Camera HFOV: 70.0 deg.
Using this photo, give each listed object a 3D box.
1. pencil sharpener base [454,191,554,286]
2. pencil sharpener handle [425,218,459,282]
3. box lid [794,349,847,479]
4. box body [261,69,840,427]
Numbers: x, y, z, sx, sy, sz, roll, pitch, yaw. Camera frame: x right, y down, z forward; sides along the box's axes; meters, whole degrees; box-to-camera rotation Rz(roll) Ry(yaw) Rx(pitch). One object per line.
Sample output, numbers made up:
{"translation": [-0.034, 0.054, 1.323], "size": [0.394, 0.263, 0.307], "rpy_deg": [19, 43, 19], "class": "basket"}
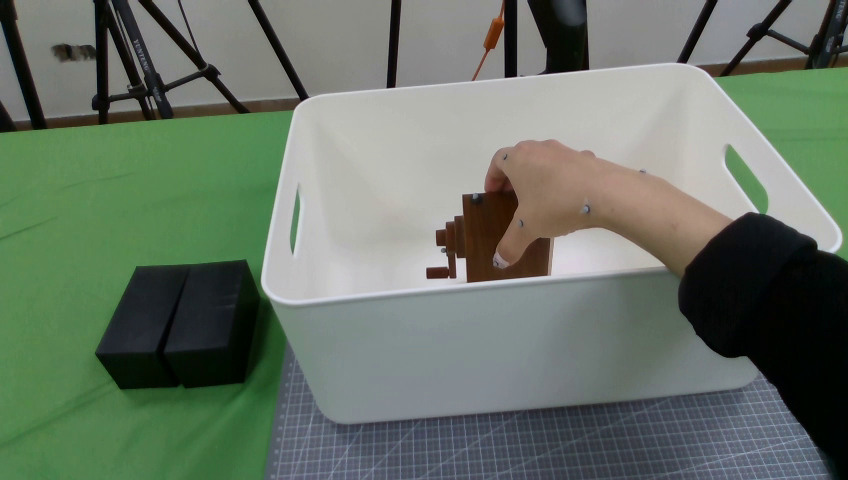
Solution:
{"translation": [0.066, 0.018, 0.515], "size": [0.076, 0.108, 0.061], "rpy_deg": [-4, 43, 3], "class": "pencil sharpener base"}
{"translation": [0.014, 0.012, 0.510], "size": [0.030, 0.068, 0.035], "rpy_deg": [-4, 45, 3], "class": "pencil sharpener handle"}
{"translation": [0.464, 0.180, 0.384], "size": [0.371, 0.015, 0.261], "rpy_deg": [1, 42, 5], "class": "box lid"}
{"translation": [0.079, 0.000, 0.504], "size": [0.364, 0.162, 0.251], "rpy_deg": [-5, 42, 0], "class": "box body"}
